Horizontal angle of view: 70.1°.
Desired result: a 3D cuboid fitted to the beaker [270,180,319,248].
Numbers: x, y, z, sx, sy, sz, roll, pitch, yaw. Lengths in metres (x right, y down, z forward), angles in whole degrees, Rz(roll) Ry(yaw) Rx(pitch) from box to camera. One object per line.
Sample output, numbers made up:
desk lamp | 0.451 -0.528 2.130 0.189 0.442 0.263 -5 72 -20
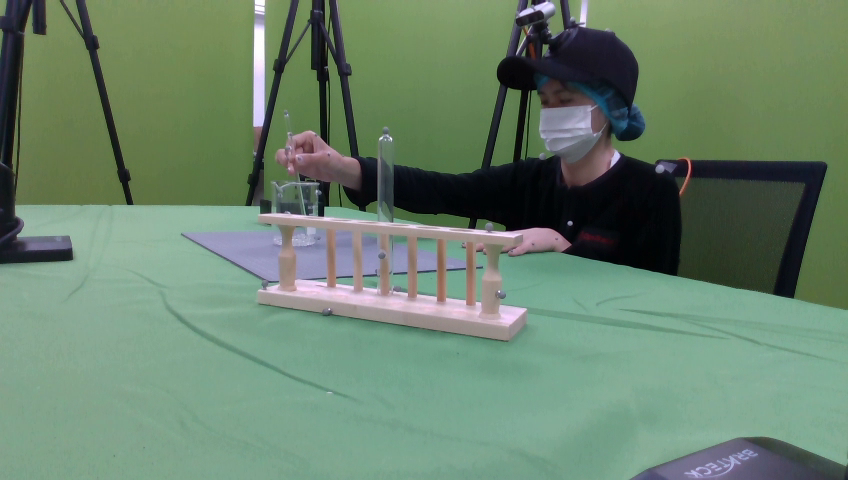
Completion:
beaker | -0.203 -0.040 0.935 0.074 0.100 0.084 5 8 18

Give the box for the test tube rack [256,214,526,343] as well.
test tube rack | -0.032 0.027 0.547 0.241 0.085 0.067 5 7 22

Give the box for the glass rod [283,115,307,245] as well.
glass rod | -0.196 -0.089 0.920 0.008 0.199 0.008 -6 10 1

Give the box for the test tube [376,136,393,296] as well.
test tube | -0.037 -0.021 0.565 0.017 0.150 0.017 1 6 0
